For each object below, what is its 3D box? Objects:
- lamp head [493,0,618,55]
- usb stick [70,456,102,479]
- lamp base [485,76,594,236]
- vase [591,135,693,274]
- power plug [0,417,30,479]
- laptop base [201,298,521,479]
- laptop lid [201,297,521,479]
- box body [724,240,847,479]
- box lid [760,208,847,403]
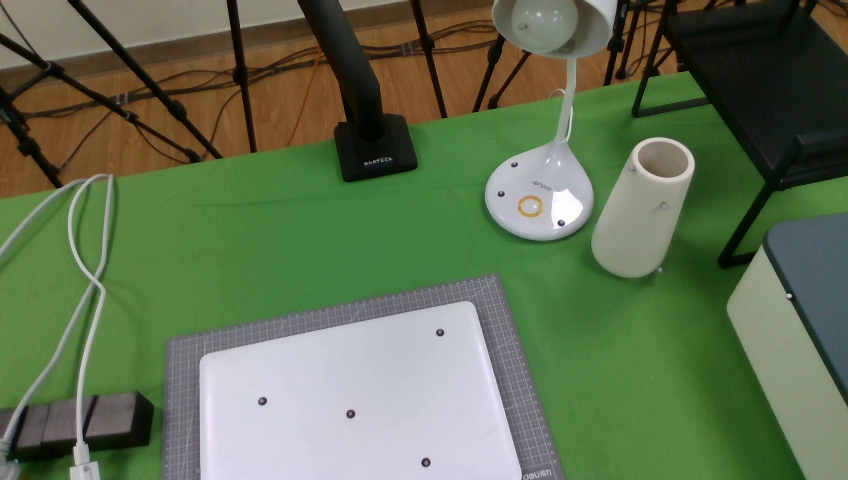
[{"bbox_3d":[0.132,-0.249,0.563,0.112,0.113,0.122,15,76,12],"label":"lamp head"},{"bbox_3d":[-0.369,0.270,0.664,0.027,0.021,0.059,-15,81,29],"label":"usb stick"},{"bbox_3d":[0.172,-0.125,0.839,0.160,0.182,0.178,18,56,14],"label":"lamp base"},{"bbox_3d":[0.274,-0.041,0.768,0.098,0.202,0.097,-2,55,3],"label":"vase"},{"bbox_3d":[-0.454,0.243,0.673,0.035,0.053,0.072,15,64,35],"label":"power plug"},{"bbox_3d":[-0.084,0.205,0.724,0.355,0.023,0.233,-11,60,-5],"label":"laptop base"},{"bbox_3d":[-0.084,0.201,0.713,0.357,0.013,0.239,-10,59,-4],"label":"laptop lid"},{"bbox_3d":[0.526,0.154,0.650,0.254,0.162,0.360,-9,56,-3],"label":"box body"},{"bbox_3d":[0.522,0.111,0.588,0.263,0.015,0.367,-8,57,-4],"label":"box lid"}]
